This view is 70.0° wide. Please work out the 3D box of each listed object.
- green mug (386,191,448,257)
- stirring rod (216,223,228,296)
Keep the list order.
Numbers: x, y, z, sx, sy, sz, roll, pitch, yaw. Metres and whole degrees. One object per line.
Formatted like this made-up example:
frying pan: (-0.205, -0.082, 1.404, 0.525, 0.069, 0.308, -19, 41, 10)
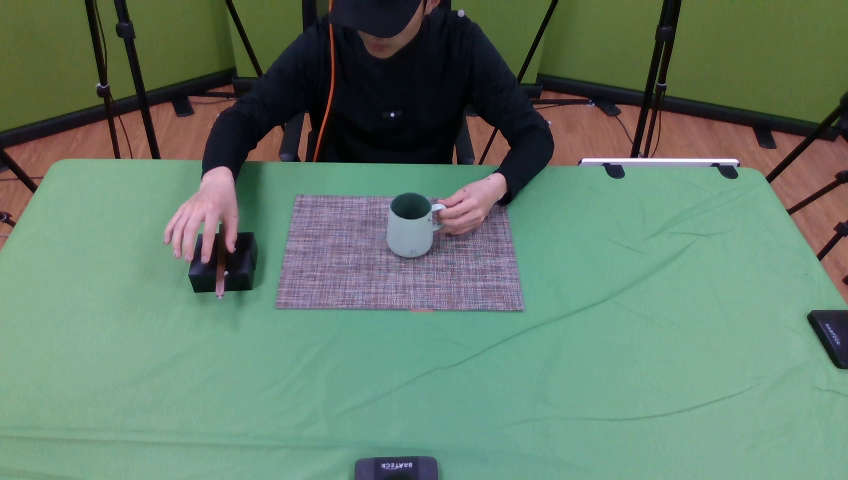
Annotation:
green mug: (-0.012, -0.034, 1.165, 0.125, 0.105, 0.092, -17, 49, -19)
stirring rod: (-0.361, 0.031, 1.083, 0.014, 0.006, 0.175, -8, 47, -7)
